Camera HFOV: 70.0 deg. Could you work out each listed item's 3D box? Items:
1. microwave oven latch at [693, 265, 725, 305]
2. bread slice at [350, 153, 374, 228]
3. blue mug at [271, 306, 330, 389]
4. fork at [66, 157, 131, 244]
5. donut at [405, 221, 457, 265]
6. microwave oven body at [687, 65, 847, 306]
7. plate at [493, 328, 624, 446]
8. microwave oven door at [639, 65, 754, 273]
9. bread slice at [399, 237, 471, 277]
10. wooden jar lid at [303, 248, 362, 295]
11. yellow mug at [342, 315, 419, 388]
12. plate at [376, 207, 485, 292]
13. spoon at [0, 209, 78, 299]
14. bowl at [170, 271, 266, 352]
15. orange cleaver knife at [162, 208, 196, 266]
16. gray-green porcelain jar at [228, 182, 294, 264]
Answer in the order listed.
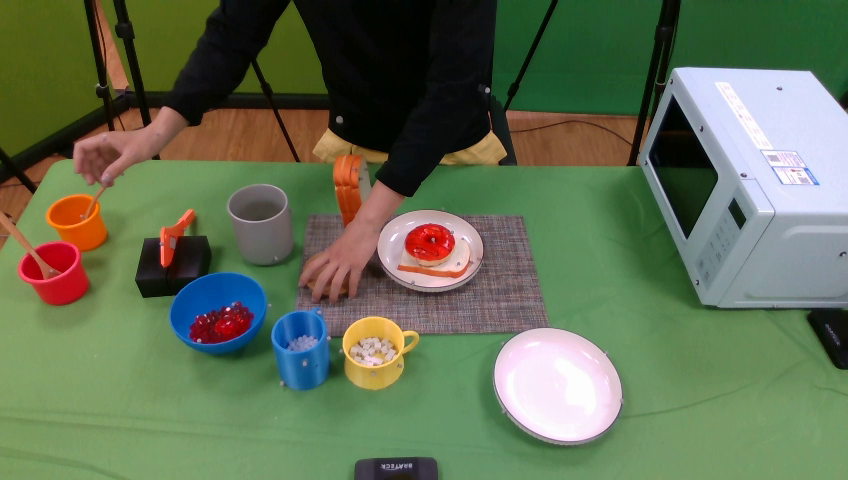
[{"bbox_3d":[0.522,0.081,1.115,0.030,0.029,0.078,2,46,-1],"label":"microwave oven latch"},{"bbox_3d":[-0.124,-0.104,1.207,0.018,0.135,0.106,-1,48,7],"label":"bread slice"},{"bbox_3d":[-0.188,0.163,0.969,0.082,0.106,0.116,15,47,10],"label":"blue mug"},{"bbox_3d":[-0.609,-0.074,1.133,0.207,0.019,0.028,-52,51,10],"label":"fork"},{"bbox_3d":[0.013,0.004,1.136,0.099,0.048,0.098,0,46,0],"label":"donut"},{"bbox_3d":[0.669,-0.111,1.176,0.326,0.261,0.439,0,46,-3],"label":"microwave oven body"},{"bbox_3d":[0.213,0.236,0.974,0.208,0.039,0.206,2,46,-2],"label":"plate"},{"bbox_3d":[0.522,-0.147,1.192,0.039,0.245,0.353,0,47,-3],"label":"microwave oven door"},{"bbox_3d":[0.025,0.024,1.161,0.131,0.019,0.104,7,47,8],"label":"bread slice"},{"bbox_3d":[-0.169,0.061,1.121,0.108,0.021,0.107,2,46,-2],"label":"wooden jar lid"},{"bbox_3d":[-0.068,0.177,0.990,0.131,0.064,0.099,-15,50,-19],"label":"yellow mug"},{"bbox_3d":[0.012,0.021,1.159,0.209,0.038,0.208,2,47,-2],"label":"plate"},{"bbox_3d":[-0.668,0.022,1.040,0.041,0.021,0.194,-41,105,-29],"label":"spoon"},{"bbox_3d":[-0.333,0.132,1.006,0.151,0.077,0.150,2,46,-2],"label":"bowl"},{"bbox_3d":[-0.454,-0.010,1.129,0.012,0.077,0.210,-1,17,-6],"label":"orange cleaver knife"},{"bbox_3d":[-0.299,-0.026,1.125,0.106,0.127,0.105,2,46,-2],"label":"gray-green porcelain jar"}]
